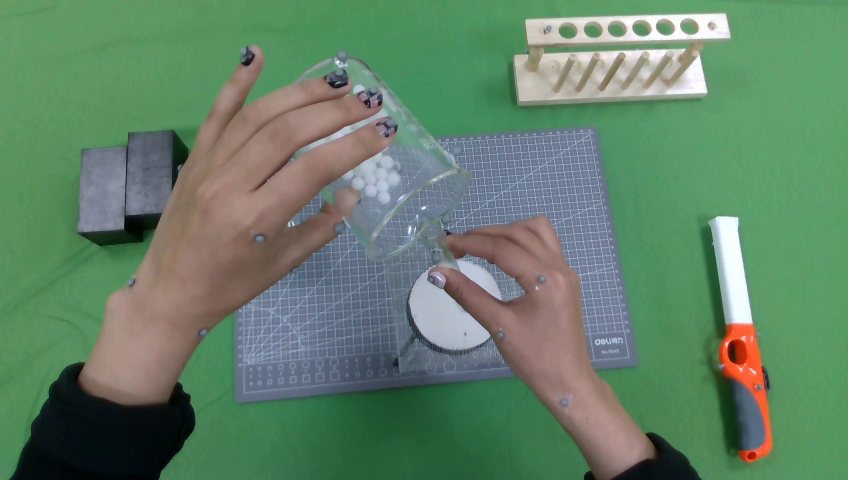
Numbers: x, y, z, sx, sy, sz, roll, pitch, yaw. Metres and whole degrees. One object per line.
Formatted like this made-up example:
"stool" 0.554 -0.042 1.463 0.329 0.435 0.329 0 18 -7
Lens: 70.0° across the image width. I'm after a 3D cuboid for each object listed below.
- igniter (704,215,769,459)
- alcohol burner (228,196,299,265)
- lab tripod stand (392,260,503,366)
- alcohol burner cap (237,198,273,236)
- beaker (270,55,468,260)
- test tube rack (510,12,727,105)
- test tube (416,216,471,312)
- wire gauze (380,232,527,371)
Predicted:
"igniter" 0.357 0.105 0.694 0.057 0.025 0.275 2 75 -12
"alcohol burner" -0.177 -0.016 0.653 0.078 0.119 0.077 1 72 -1
"lab tripod stand" 0.023 0.077 0.628 0.148 0.132 0.147 0 74 -1
"alcohol burner cap" -0.174 -0.025 0.619 0.034 0.048 0.033 1 76 -6
"beaker" -0.033 -0.049 0.352 0.074 0.084 0.100 -41 76 2
"test tube rack" 0.236 -0.222 0.747 0.242 0.085 0.066 -3 75 -3
"test tube" 0.017 0.023 0.445 0.017 0.151 0.017 -5 64 11
"wire gauze" 0.027 0.055 0.564 0.125 0.011 0.120 -6 74 -5
